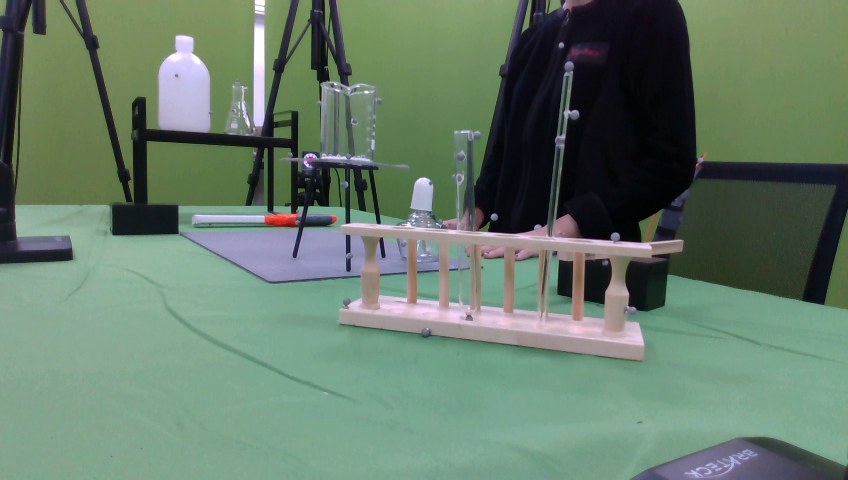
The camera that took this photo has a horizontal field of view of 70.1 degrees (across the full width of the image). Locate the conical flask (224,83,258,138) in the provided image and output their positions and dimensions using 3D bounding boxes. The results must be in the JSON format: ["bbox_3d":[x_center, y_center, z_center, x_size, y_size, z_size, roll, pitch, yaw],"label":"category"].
[{"bbox_3d":[-0.422,-0.299,1.395,0.075,0.122,0.075,2,7,0],"label":"conical flask"}]

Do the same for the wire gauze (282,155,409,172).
[{"bbox_3d":[-0.104,-0.103,0.785,0.126,0.011,0.121,1,8,-39],"label":"wire gauze"}]

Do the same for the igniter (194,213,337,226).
[{"bbox_3d":[-0.306,-0.041,1.197,0.278,0.025,0.057,-2,-2,-30],"label":"igniter"}]

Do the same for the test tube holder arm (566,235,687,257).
[{"bbox_3d":[0.215,0.006,0.630,0.179,0.015,0.013,-3,10,-30],"label":"test tube holder arm"}]

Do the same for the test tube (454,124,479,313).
[{"bbox_3d":[0.034,-0.015,0.477,0.017,0.150,0.017,-2,9,1],"label":"test tube"}]

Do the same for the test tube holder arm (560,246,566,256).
[{"bbox_3d":[0.173,0.007,0.611,0.088,0.015,0.010,-3,9,-30],"label":"test tube holder arm"}]

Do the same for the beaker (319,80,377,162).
[{"bbox_3d":[-0.098,-0.150,0.777,0.074,0.100,0.084,1,7,-8],"label":"beaker"}]

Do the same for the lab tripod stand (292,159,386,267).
[{"bbox_3d":[-0.105,-0.039,0.797,0.148,0.131,0.148,2,5,0],"label":"lab tripod stand"}]

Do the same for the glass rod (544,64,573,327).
[{"bbox_3d":[0.101,-0.028,0.453,0.008,0.199,0.008,2,13,0],"label":"glass rod"}]

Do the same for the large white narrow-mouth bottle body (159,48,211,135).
[{"bbox_3d":[-0.503,-0.322,1.275,0.102,0.194,0.102,2,7,0],"label":"large white narrow-mouth bottle body"}]

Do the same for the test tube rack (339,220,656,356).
[{"bbox_3d":[0.056,0.032,0.495,0.242,0.085,0.067,4,7,15],"label":"test tube rack"}]

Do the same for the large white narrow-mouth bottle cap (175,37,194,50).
[{"bbox_3d":[-0.501,-0.410,1.264,0.038,0.024,0.037,2,7,0],"label":"large white narrow-mouth bottle cap"}]

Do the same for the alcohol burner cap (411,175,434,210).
[{"bbox_3d":[0.000,-0.067,0.842,0.034,0.048,0.034,8,8,-1],"label":"alcohol burner cap"}]

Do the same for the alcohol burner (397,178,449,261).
[{"bbox_3d":[-0.002,-0.031,0.846,0.078,0.119,0.078,0,6,0],"label":"alcohol burner"}]
